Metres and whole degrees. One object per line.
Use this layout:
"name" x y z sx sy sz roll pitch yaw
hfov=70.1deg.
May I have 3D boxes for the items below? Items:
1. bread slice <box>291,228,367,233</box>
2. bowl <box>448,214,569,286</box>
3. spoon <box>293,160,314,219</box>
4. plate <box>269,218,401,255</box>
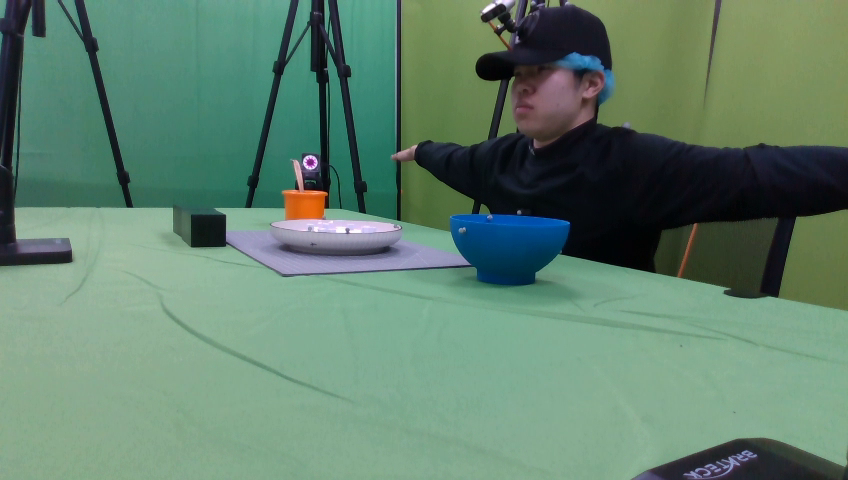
"bread slice" -0.143 -0.003 0.953 0.135 0.018 0.106 -2 9 -37
"bowl" 0.102 0.012 0.758 0.151 0.077 0.151 3 7 0
"spoon" -0.259 -0.103 1.268 0.042 0.193 0.021 2 -38 -22
"plate" -0.140 -0.006 0.958 0.209 0.038 0.209 3 7 0
